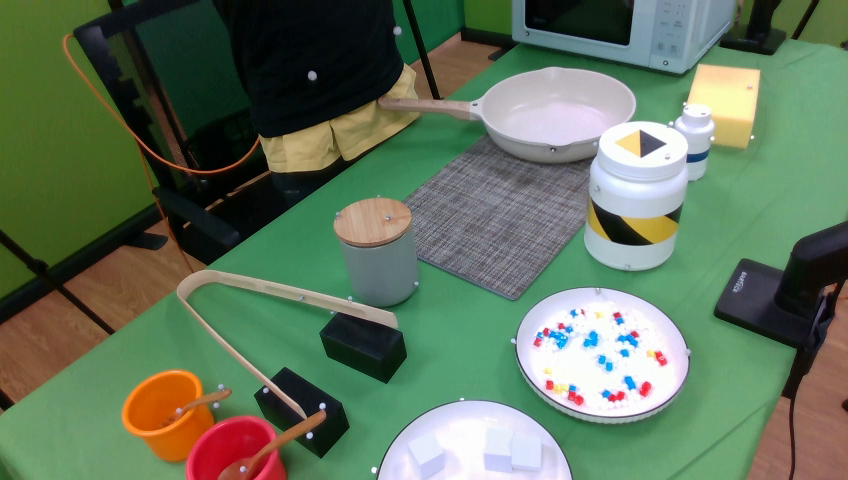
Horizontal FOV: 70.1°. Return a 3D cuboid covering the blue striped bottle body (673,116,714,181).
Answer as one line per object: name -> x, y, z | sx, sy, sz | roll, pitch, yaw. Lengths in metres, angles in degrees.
blue striped bottle body -> 0.451, -0.166, 1.023 | 0.063, 0.121, 0.063 | -5, 41, 4

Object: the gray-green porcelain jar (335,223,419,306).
gray-green porcelain jar -> -0.064, 0.024, 0.872 | 0.106, 0.127, 0.105 | -4, 41, 4

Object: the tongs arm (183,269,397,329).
tongs arm -> -0.203, 0.085, 0.847 | 0.382, 0.027, 0.051 | 11, 44, 34

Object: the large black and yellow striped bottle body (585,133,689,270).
large black and yellow striped bottle body -> 0.305, -0.061, 0.874 | 0.131, 0.185, 0.130 | -4, 41, 4

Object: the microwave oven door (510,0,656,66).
microwave oven door -> 0.350, -0.539, 1.349 | 0.353, 0.245, 0.039 | 24, 50, 31

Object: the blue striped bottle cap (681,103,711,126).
blue striped bottle cap -> 0.446, -0.205, 0.990 | 0.044, 0.021, 0.044 | -5, 43, 5

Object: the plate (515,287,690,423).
plate -> 0.220, 0.144, 0.760 | 0.209, 0.038, 0.208 | -4, 40, 4

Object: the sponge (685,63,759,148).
sponge -> 0.569, -0.263, 1.164 | 0.117, 0.061, 0.207 | 12, 45, 22

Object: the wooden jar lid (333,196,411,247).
wooden jar lid -> -0.071, -0.023, 0.830 | 0.108, 0.021, 0.108 | -4, 36, 3

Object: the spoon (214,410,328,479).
spoon -> -0.165, 0.224, 0.639 | 0.193, 0.022, 0.041 | -40, 32, 30

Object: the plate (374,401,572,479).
plate -> 0.051, 0.268, 0.639 | 0.207, 0.039, 0.206 | -3, 40, 3

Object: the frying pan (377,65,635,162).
frying pan -> 0.150, -0.254, 1.177 | 0.488, 0.103, 0.306 | 6, 41, 3

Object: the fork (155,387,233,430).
fork -> -0.264, 0.191, 0.687 | 0.206, 0.018, 0.028 | -33, 8, 44

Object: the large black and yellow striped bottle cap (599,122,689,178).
large black and yellow striped bottle cap -> 0.296, -0.123, 0.818 | 0.115, 0.019, 0.114 | -5, 40, 5

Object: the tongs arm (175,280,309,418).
tongs arm -> -0.255, 0.133, 0.800 | 0.028, 0.028, 0.384 | -41, 40, -23

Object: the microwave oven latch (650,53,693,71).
microwave oven latch -> 0.531, -0.386, 1.301 | 0.078, 0.029, 0.030 | 26, 51, 33

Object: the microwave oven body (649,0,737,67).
microwave oven body -> 0.475, -0.602, 1.411 | 0.438, 0.261, 0.327 | 23, 50, 32
